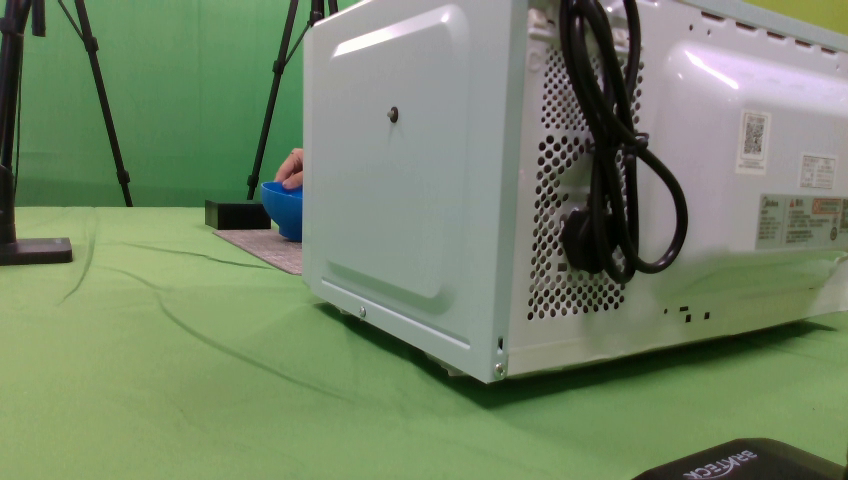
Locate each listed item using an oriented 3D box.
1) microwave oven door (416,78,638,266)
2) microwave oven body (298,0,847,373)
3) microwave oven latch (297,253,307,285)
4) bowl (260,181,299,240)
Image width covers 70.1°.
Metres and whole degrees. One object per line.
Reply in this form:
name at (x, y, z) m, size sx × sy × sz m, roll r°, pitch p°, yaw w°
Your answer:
microwave oven door at (0.131, -0.105, 0.892) m, size 0.354 × 0.243 × 0.039 m, roll 9°, pitch 10°, yaw 42°
microwave oven body at (0.151, -0.055, 0.543) m, size 0.444 × 0.260 × 0.324 m, roll -1°, pitch 7°, yaw -33°
microwave oven latch at (-0.082, 0.027, 0.583) m, size 0.079 × 0.029 × 0.030 m, roll -1°, pitch 7°, yaw -33°
bowl at (-0.203, -0.045, 1.013) m, size 0.151 × 0.077 × 0.151 m, roll 11°, pitch 11°, yaw -2°
